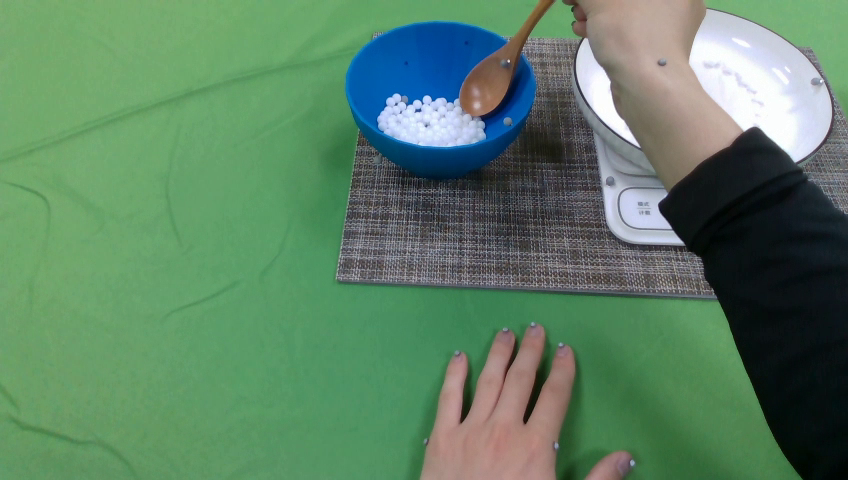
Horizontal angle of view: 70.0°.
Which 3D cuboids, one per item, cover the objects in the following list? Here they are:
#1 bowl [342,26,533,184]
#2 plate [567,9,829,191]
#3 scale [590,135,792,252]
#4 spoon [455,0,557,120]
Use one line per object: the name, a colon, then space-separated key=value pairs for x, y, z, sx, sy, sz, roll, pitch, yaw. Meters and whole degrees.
bowl: x=0.011 y=-0.100 z=0.505 sx=0.151 sy=0.077 sz=0.150 roll=0 pitch=55 yaw=0
plate: x=0.222 y=-0.117 z=0.508 sx=0.209 sy=0.038 sz=0.207 roll=1 pitch=55 yaw=-1
scale: x=0.220 y=-0.080 z=0.521 sx=0.149 sy=0.032 sz=0.199 roll=2 pitch=55 yaw=1
spoon: x=0.081 y=-0.162 z=0.455 sx=0.022 sy=0.194 sz=0.041 roll=-15 pitch=68 yaw=-39
